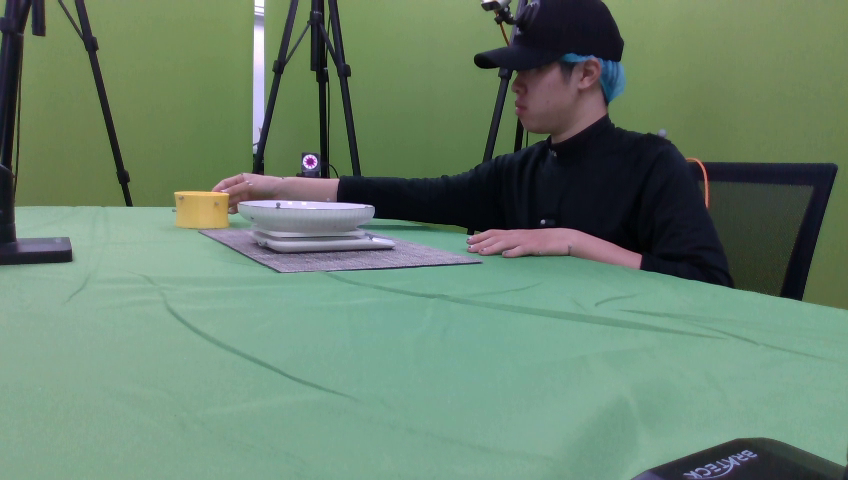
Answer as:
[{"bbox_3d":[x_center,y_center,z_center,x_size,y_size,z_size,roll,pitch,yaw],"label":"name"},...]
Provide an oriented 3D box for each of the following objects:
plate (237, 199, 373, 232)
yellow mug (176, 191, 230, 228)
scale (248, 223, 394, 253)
[{"bbox_3d":[-0.183,-0.039,0.941,0.209,0.038,0.209,3,7,0],"label":"plate"},{"bbox_3d":[-0.424,-0.063,1.190,0.100,0.064,0.131,4,7,17],"label":"yellow mug"},{"bbox_3d":[-0.162,-0.006,0.954,0.202,0.031,0.148,-1,9,-32],"label":"scale"}]
